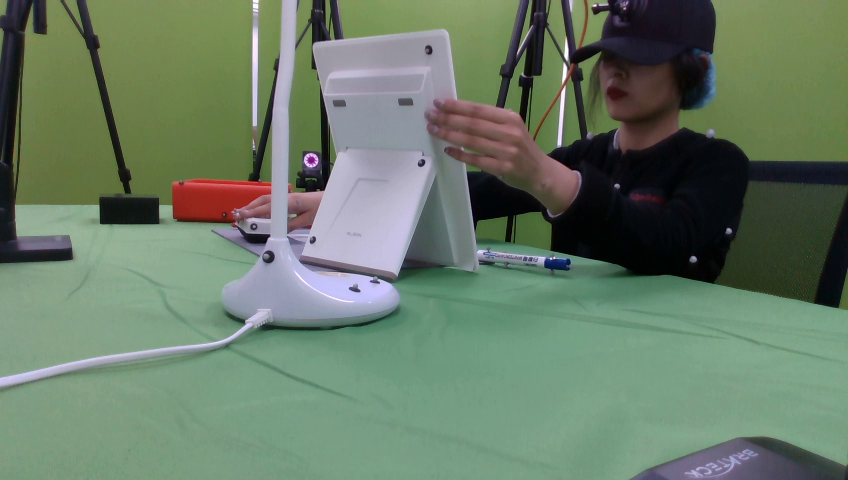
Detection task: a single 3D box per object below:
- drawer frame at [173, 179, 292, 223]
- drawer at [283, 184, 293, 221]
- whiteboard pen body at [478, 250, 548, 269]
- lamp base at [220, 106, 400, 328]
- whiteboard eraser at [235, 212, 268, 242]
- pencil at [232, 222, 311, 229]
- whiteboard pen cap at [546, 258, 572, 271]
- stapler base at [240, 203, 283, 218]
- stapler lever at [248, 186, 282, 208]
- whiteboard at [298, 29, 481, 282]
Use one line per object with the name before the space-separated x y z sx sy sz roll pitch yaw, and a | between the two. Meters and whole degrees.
drawer frame | -0.400 -0.086 1.300 0.214 0.082 0.201 1 8 -8
drawer | -0.396 -0.084 1.301 0.212 0.073 0.194 1 8 -7
whiteboard pen body | 0.130 0.027 0.827 0.140 0.017 0.017 6 8 38
lamp base | -0.101 -0.023 0.531 0.160 0.180 0.179 4 10 10
whiteboard eraser | -0.268 -0.020 0.976 0.056 0.042 0.112 6 5 -27
pencil | -0.261 -0.025 1.141 0.195 0.012 0.012 2 7 -26
whiteboard pen cap | 0.176 0.032 0.790 0.033 0.018 0.018 2 6 37
stapler base | -0.349 -0.066 1.309 0.041 0.024 0.131 19 7 12
stapler lever | -0.341 -0.092 1.308 0.027 0.040 0.118 19 5 12
whiteboard | -0.075 -0.082 0.742 0.216 0.305 0.144 9 29 37
